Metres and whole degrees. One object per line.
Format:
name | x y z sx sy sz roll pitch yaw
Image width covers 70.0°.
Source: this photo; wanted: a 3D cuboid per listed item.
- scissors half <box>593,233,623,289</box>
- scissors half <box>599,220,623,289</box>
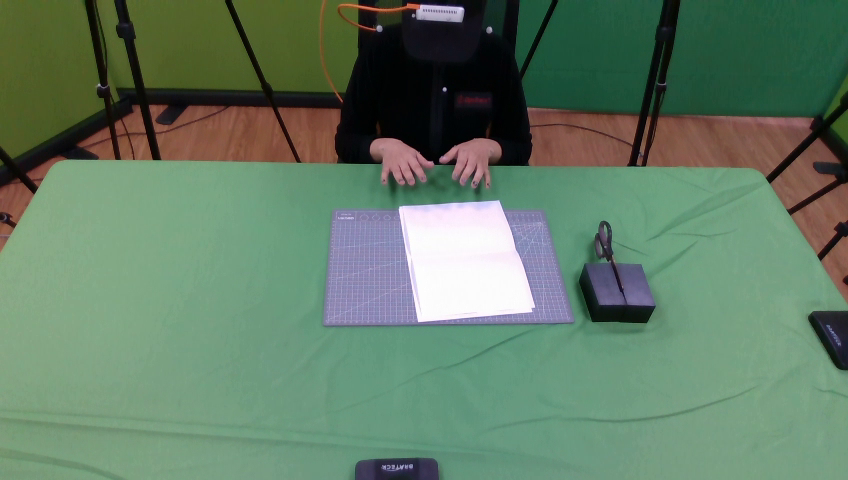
scissors half | 0.351 0.040 1.154 0.013 0.040 0.174 9 29 -7
scissors half | 0.354 0.024 1.142 0.013 0.040 0.174 4 47 -4
